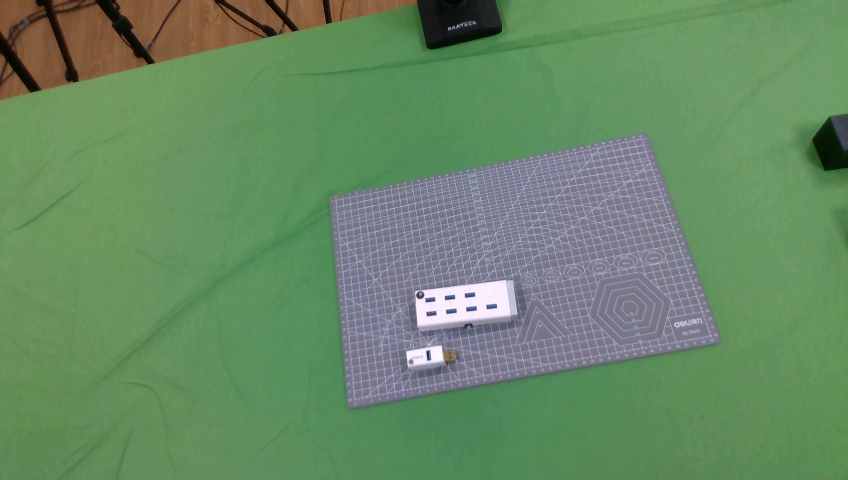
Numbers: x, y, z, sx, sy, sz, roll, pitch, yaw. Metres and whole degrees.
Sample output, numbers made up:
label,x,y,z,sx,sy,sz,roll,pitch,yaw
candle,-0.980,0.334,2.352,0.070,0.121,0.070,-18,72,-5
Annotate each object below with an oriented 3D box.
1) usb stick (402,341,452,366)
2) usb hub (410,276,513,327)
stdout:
label,x,y,z,sx,sy,sz,roll,pitch,yaw
usb stick,0.005,0.137,0.735,0.059,0.027,0.021,-8,66,2
usb hub,0.046,0.076,0.756,0.125,0.025,0.049,-7,66,5
